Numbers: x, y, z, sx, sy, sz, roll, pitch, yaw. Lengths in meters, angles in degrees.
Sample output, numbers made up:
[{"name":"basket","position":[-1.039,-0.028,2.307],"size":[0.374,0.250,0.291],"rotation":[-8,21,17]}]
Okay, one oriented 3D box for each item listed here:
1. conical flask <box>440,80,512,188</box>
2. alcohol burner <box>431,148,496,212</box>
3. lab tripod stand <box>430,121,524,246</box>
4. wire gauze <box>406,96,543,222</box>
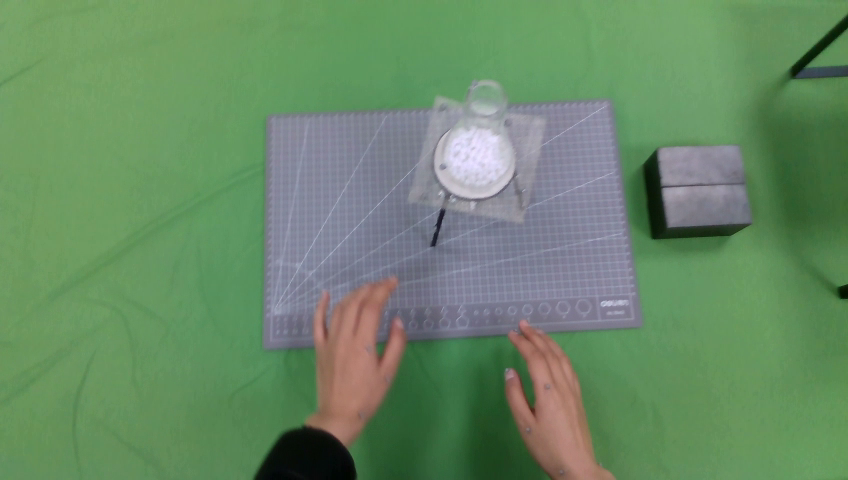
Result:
[{"name":"conical flask","position":[0.053,-0.104,0.575],"size":[0.075,0.122,0.075],"rotation":[0,74,1]},{"name":"alcohol burner","position":[0.047,-0.077,0.707],"size":[0.078,0.119,0.077],"rotation":[0,76,1]},{"name":"lab tripod stand","position":[0.049,-0.069,0.695],"size":[0.148,0.132,0.147],"rotation":[0,74,1]},{"name":"wire gauze","position":[0.055,-0.085,0.631],"size":[0.121,0.011,0.124],"rotation":[14,73,2]}]
